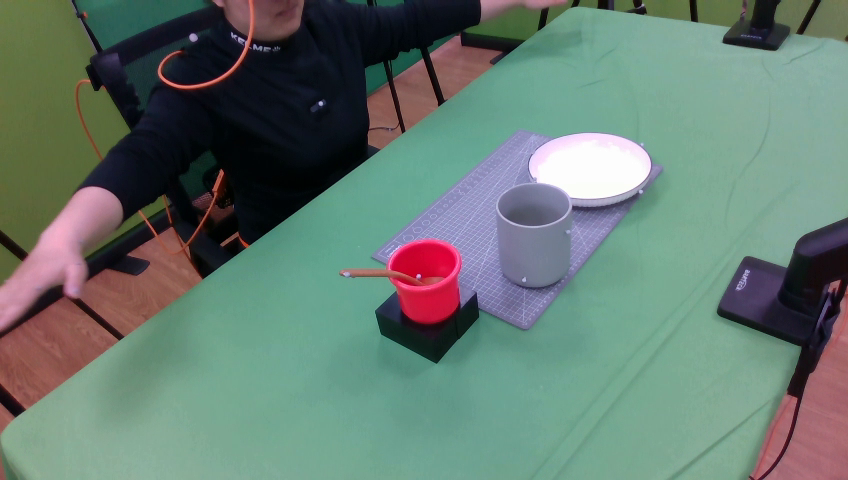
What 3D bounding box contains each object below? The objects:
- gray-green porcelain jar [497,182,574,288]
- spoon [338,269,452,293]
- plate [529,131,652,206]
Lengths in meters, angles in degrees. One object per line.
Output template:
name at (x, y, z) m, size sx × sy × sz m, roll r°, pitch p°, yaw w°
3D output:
gray-green porcelain jar at (0.160, -0.003, 0.869) m, size 0.106 × 0.127 × 0.105 m, roll -5°, pitch 40°, yaw 5°
spoon at (-0.033, 0.047, 0.758) m, size 0.041 × 0.021 × 0.195 m, roll 30°, pitch 10°, yaw 41°
plate at (0.287, -0.122, 1.055) m, size 0.207 × 0.039 × 0.206 m, roll -5°, pitch 40°, yaw 5°
